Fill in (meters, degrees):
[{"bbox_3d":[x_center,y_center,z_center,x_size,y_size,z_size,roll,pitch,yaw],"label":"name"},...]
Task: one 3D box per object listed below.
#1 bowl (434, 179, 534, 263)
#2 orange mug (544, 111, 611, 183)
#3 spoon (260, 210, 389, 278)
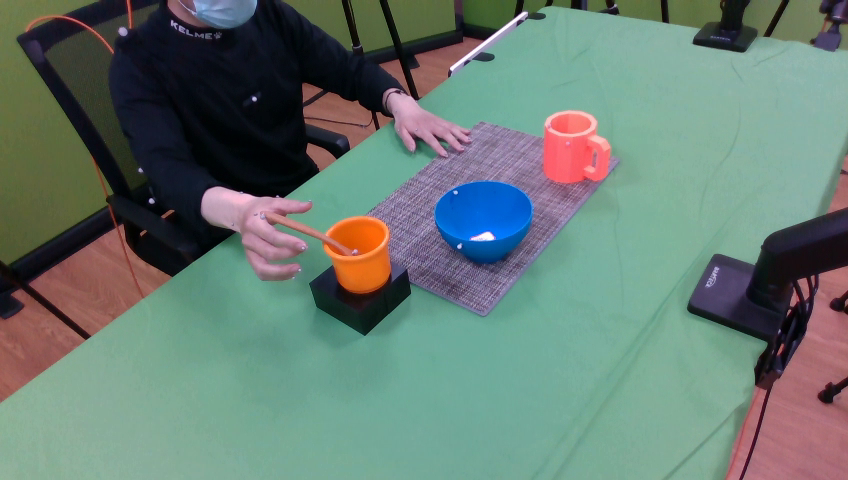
[{"bbox_3d":[0.093,-0.018,0.928,0.151,0.077,0.150,-4,41,4],"label":"bowl"},{"bbox_3d":[0.266,-0.157,1.049,0.084,0.101,0.125,-32,42,-26],"label":"orange mug"},{"bbox_3d":[-0.129,0.003,0.809,0.021,0.195,0.041,-39,34,33],"label":"spoon"}]
